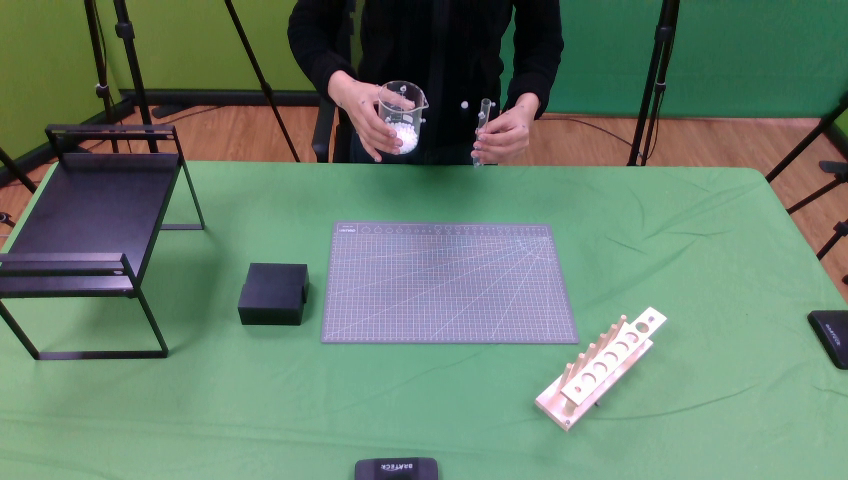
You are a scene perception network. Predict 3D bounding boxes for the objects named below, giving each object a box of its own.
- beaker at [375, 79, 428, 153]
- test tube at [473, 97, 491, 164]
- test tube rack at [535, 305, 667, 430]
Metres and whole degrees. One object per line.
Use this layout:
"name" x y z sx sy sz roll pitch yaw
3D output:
"beaker" -0.039 -0.197 0.986 0.084 0.101 0.073 14 54 4
"test tube" 0.095 -0.179 1.016 0.017 0.151 0.017 1 56 -1
"test tube rack" 0.290 0.193 0.984 0.242 0.085 0.066 -32 56 -30
